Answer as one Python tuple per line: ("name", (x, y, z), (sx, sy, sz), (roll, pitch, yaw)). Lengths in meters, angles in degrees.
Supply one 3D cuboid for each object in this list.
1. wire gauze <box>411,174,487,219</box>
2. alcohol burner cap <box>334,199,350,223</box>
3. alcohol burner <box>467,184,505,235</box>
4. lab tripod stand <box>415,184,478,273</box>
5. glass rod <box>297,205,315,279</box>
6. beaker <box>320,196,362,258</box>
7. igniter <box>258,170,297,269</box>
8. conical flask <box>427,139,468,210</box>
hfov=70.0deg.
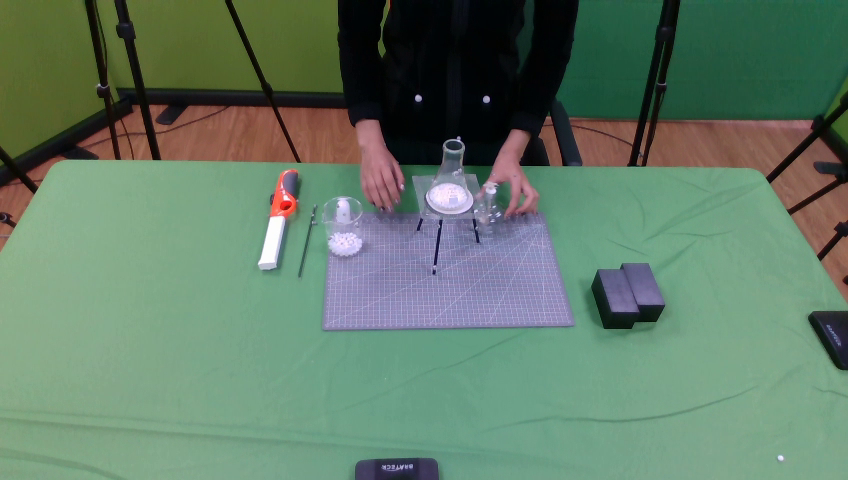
("wire gauze", (0.045, -0.079, 1.107), (0.125, 0.011, 0.120), (-4, 44, -6))
("alcohol burner cap", (-0.167, -0.061, 1.228), (0.034, 0.048, 0.033), (2, 46, -2))
("alcohol burner", (0.126, -0.068, 1.209), (0.078, 0.119, 0.077), (2, 48, -2))
("lab tripod stand", (0.042, -0.031, 1.152), (0.148, 0.132, 0.147), (3, 44, -3))
("glass rod", (-0.231, 0.000, 1.191), (0.008, 0.008, 0.198), (2, 46, -1))
("beaker", (-0.156, -0.021, 1.150), (0.084, 0.101, 0.073), (-30, 55, -28))
("igniter", (-0.294, -0.049, 1.220), (0.057, 0.025, 0.275), (-5, 45, 4))
("conical flask", (0.046, -0.117, 1.061), (0.075, 0.122, 0.075), (3, 46, -2))
